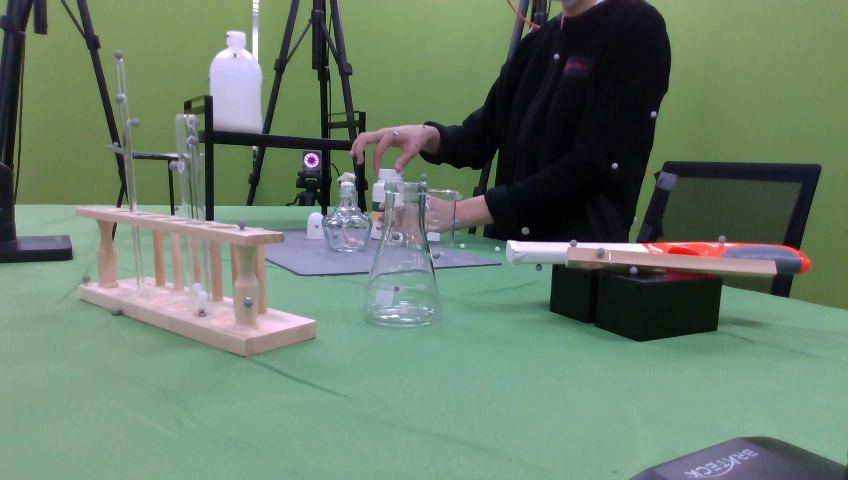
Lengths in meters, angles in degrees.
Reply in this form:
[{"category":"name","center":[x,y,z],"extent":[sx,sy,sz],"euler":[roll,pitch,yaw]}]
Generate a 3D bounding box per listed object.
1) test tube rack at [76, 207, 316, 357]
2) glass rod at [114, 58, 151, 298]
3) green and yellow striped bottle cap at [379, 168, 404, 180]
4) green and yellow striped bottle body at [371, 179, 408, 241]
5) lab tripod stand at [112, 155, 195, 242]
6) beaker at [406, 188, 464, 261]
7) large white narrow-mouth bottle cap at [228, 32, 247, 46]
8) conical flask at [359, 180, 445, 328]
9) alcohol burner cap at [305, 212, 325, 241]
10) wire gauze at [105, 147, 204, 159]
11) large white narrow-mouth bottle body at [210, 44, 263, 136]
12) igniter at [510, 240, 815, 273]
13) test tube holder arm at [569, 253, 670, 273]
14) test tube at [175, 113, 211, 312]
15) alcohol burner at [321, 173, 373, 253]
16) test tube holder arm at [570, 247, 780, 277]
[{"category":"test tube rack","center":[-0.196,0.023,0.499],"extent":[0.241,0.085,0.067],"euler":[8,9,36]},{"category":"glass rod","center":[-0.236,-0.044,0.492],"extent":[0.008,0.199,0.008],"euler":[0,15,0]},{"category":"green and yellow striped bottle cap","center":[-0.057,-0.115,1.051],"extent":[0.045,0.020,0.045],"euler":[2,8,0]},{"category":"green and yellow striped bottle body","center":[-0.059,-0.061,1.059],"extent":[0.063,0.119,0.063],"euler":[3,7,0]},{"category":"lab tripod stand","center":[-0.405,-0.064,0.931],"extent":[0.148,0.131,0.148],"euler":[1,6,0]},{"category":"beaker","center":[0.014,-0.023,0.870],"extent":[0.084,0.100,0.074],"euler":[3,8,-4]},{"category":"large white narrow-mouth bottle cap","center":[-0.364,-0.390,1.180],"extent":[0.038,0.024,0.037],"euler":[3,8,0]},{"category":"conical flask","center":[-0.017,0.010,0.522],"extent":[0.075,0.122,0.075],"euler":[2,7,0]},{"category":"alcohol burner cap","center":[-0.185,-0.023,1.027],"extent":[0.034,0.048,0.034],"euler":[2,7,0]},{"category":"wire gauze","center":[-0.407,-0.131,0.928],"extent":[0.125,0.011,0.121],"euler":[2,6,-11]},{"category":"large white narrow-mouth bottle body","center":[-0.369,-0.305,1.194],"extent":[0.102,0.194,0.102],"euler":[3,8,0]},{"category":"igniter","center":[0.220,0.015,0.565],"extent":[0.277,0.025,0.057],"euler":[2,16,0]},{"category":"test tube holder arm","center":[0.172,0.019,0.532],"extent":[0.088,0.015,0.010],"euler":[3,-23,3]},{"category":"test tube","center":[-0.174,-0.020,0.458],"extent":[0.017,0.150,0.017],"euler":[-3,5,1]},{"category":"alcohol burner","center":[-0.115,-0.041,0.905],"extent":[0.078,0.119,0.078],"euler":[1,6,0]},{"category":"test tube holder arm","center":[0.217,0.019,0.525],"extent":[0.178,0.015,0.013],"euler":[3,-23,3]}]
